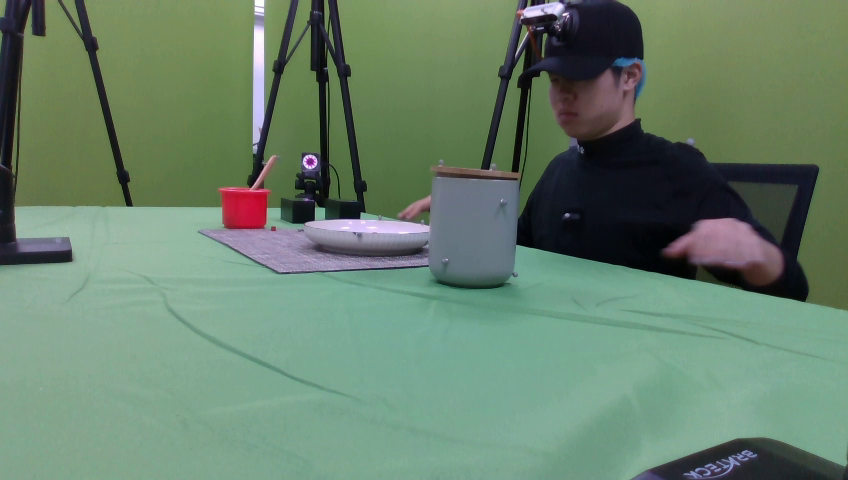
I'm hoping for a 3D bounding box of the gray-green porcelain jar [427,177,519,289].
[{"bbox_3d":[0.057,-0.010,0.722,0.106,0.126,0.106,2,7,0],"label":"gray-green porcelain jar"}]

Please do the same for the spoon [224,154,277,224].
[{"bbox_3d":[-0.345,-0.106,1.214,0.041,0.022,0.194,1,45,27],"label":"spoon"}]

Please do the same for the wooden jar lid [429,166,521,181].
[{"bbox_3d":[0.059,-0.074,0.714,0.108,0.020,0.108,4,6,0],"label":"wooden jar lid"}]

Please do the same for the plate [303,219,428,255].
[{"bbox_3d":[-0.084,-0.005,0.952,0.208,0.039,0.207,3,7,0],"label":"plate"}]
